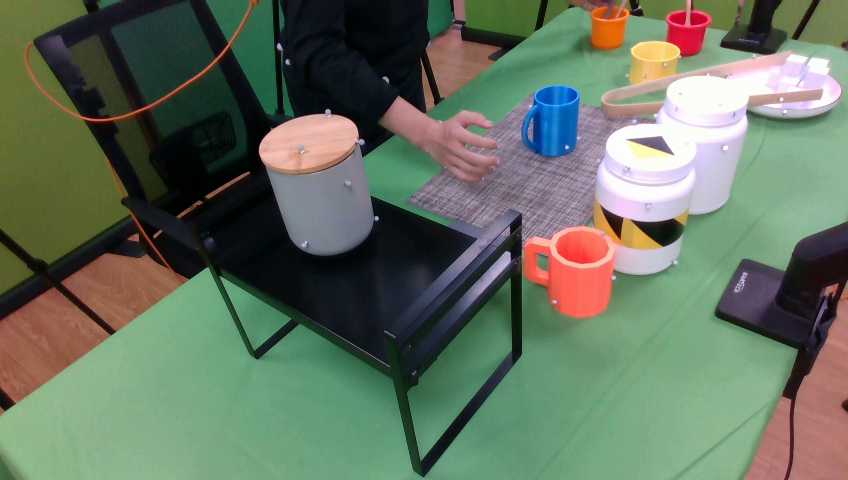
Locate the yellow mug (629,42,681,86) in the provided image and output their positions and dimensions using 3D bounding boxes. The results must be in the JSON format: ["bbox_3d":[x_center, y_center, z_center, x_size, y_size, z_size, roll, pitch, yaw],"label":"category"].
[{"bbox_3d":[0.495,-0.389,1.322,0.100,0.064,0.130,-14,40,-6],"label":"yellow mug"}]

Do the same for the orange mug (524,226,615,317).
[{"bbox_3d":[0.201,0.039,0.845,0.125,0.101,0.083,18,47,21],"label":"orange mug"}]

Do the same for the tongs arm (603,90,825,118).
[{"bbox_3d":[0.546,-0.262,1.163,0.386,0.028,0.028,-1,49,18],"label":"tongs arm"}]

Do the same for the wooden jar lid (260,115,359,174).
[{"bbox_3d":[-0.124,-0.101,0.662,0.108,0.021,0.108,-4,41,4],"label":"wooden jar lid"}]

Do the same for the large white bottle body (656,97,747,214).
[{"bbox_3d":[0.431,-0.148,0.959,0.130,0.185,0.130,-4,41,4],"label":"large white bottle body"}]

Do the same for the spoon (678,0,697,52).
[{"bbox_3d":[0.614,-0.526,1.402,0.041,0.022,0.193,3,86,11],"label":"spoon"}]

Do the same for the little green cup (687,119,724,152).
[{"bbox_3d":[0.514,-0.191,1.109,0.061,0.039,0.061,-5,40,5],"label":"little green cup"}]

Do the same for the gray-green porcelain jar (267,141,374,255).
[{"bbox_3d":[-0.116,-0.054,0.703,0.106,0.127,0.105,-4,40,4],"label":"gray-green porcelain jar"}]

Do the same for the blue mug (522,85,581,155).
[{"bbox_3d":[0.233,-0.218,1.127,0.117,0.106,0.081,-23,43,-16],"label":"blue mug"}]

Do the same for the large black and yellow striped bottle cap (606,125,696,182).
[{"bbox_3d":[0.305,-0.119,0.816,0.115,0.019,0.114,-5,41,5],"label":"large black and yellow striped bottle cap"}]

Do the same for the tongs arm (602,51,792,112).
[{"bbox_3d":[0.552,-0.320,1.224,0.384,0.027,0.050,-10,43,7],"label":"tongs arm"}]

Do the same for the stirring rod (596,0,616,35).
[{"bbox_3d":[0.457,-0.581,1.456,0.014,0.176,0.006,26,13,20],"label":"stirring rod"}]

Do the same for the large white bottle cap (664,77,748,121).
[{"bbox_3d":[0.421,-0.212,0.905,0.115,0.018,0.114,-4,40,4],"label":"large white bottle cap"}]

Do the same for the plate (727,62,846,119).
[{"bbox_3d":[0.709,-0.292,1.197,0.207,0.039,0.206,-4,40,4],"label":"plate"}]

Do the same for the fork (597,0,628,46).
[{"bbox_3d":[0.479,-0.558,1.455,0.028,0.019,0.207,35,100,38],"label":"fork"}]

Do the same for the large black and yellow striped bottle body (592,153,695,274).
[{"bbox_3d":[0.313,-0.056,0.872,0.131,0.185,0.130,-4,41,4],"label":"large black and yellow striped bottle body"}]
